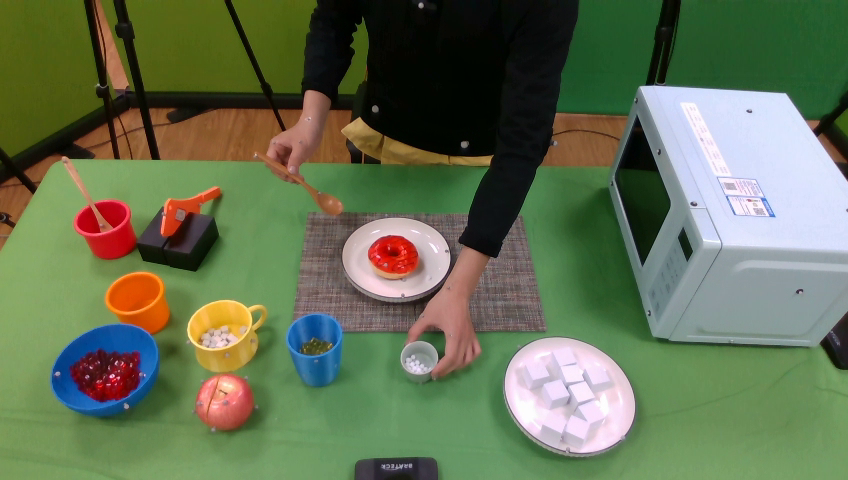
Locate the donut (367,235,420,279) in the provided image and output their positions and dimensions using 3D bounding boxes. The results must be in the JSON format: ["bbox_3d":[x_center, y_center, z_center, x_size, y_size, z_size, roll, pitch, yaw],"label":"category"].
[{"bbox_3d":[-0.057,0.032,1.131,0.099,0.048,0.098,3,46,-3],"label":"donut"}]

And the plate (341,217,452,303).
[{"bbox_3d":[-0.052,0.040,1.140,0.209,0.038,0.208,2,46,-2],"label":"plate"}]

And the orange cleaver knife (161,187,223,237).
[{"bbox_3d":[-0.448,-0.058,1.180,0.012,0.077,0.211,13,17,6],"label":"orange cleaver knife"}]

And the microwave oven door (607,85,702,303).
[{"bbox_3d":[0.424,-0.094,1.140,0.039,0.245,0.353,2,46,-1],"label":"microwave oven door"}]

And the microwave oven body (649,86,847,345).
[{"bbox_3d":[0.568,-0.053,1.118,0.326,0.261,0.439,2,45,-1],"label":"microwave oven body"}]

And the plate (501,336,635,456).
[{"bbox_3d":[0.225,0.248,0.963,0.208,0.039,0.206,2,46,-2],"label":"plate"}]

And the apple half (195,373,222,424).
[{"bbox_3d":[-0.322,0.239,0.907,0.033,0.081,0.081,6,46,0],"label":"apple half"}]

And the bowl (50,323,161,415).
[{"bbox_3d":[-0.472,0.209,0.924,0.151,0.077,0.150,2,45,-2],"label":"bowl"}]

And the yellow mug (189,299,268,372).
[{"bbox_3d":[-0.315,0.148,1.001,0.131,0.064,0.099,-33,56,-31],"label":"yellow mug"}]

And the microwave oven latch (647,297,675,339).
[{"bbox_3d":[0.413,0.134,1.061,0.030,0.029,0.078,5,45,2],"label":"microwave oven latch"}]

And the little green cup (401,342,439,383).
[{"bbox_3d":[-0.008,0.202,0.988,0.061,0.039,0.061,1,54,-1],"label":"little green cup"}]

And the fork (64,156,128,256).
[{"bbox_3d":[-0.614,-0.064,1.129,0.028,0.018,0.207,-30,97,-16],"label":"fork"}]

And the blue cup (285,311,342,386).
[{"bbox_3d":[-0.170,0.180,0.958,0.093,0.101,0.092,2,44,-1],"label":"blue cup"}]

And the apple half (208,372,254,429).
[{"bbox_3d":[-0.282,0.244,0.907,0.053,0.075,0.080,7,43,-1],"label":"apple half"}]

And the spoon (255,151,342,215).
[{"bbox_3d":[-0.230,-0.107,1.126,0.021,0.195,0.041,-18,43,44],"label":"spoon"}]
